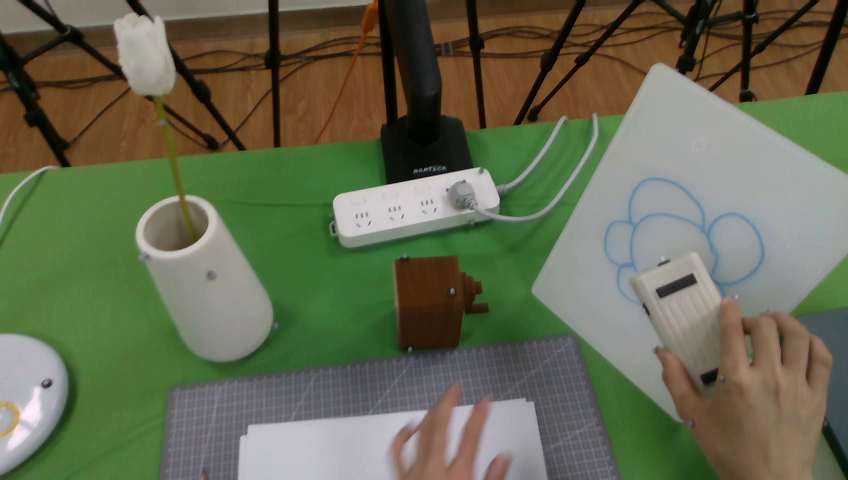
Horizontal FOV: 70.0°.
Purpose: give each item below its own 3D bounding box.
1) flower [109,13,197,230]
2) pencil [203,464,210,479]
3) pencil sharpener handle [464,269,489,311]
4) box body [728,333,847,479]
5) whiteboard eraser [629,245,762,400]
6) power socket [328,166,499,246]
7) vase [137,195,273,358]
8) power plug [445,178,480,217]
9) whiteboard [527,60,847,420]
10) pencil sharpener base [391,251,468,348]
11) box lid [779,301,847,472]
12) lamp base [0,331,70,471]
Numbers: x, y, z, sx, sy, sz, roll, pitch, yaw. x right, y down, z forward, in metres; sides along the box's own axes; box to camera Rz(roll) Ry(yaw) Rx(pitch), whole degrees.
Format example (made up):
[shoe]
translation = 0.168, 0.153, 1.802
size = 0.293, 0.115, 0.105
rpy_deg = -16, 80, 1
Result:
[flower]
translation = -0.214, -0.020, 0.555
size = 0.038, 0.365, 0.043
rpy_deg = -16, 39, -20
[pencil]
translation = -0.211, 0.300, 0.547
size = 0.012, 0.012, 0.192
rpy_deg = -1, 54, -1
[pencil sharpener handle]
translation = 0.057, 0.055, 0.649
size = 0.031, 0.068, 0.035
rpy_deg = -5, 54, -4
[box body]
translation = 0.460, 0.241, 0.508
size = 0.254, 0.162, 0.360
rpy_deg = -7, 56, -6
[whiteboard eraser]
translation = 0.213, 0.064, 0.479
size = 0.055, 0.042, 0.112
rpy_deg = -26, 82, 6
[power socket]
translation = -0.011, -0.044, 0.776
size = 0.227, 0.033, 0.071
rpy_deg = -11, 57, -9
[vase]
translation = -0.219, 0.042, 0.612
size = 0.098, 0.202, 0.097
rpy_deg = 0, 55, 1
[power plug]
translation = 0.046, -0.045, 0.749
size = 0.035, 0.053, 0.072
rpy_deg = -3, 57, -2
[whiteboard]
translation = 0.281, -0.005, 0.626
size = 0.144, 0.307, 0.215
rpy_deg = -25, 57, -39
[pencil sharpener base]
translation = 0.006, 0.066, 0.655
size = 0.077, 0.108, 0.061
rpy_deg = -5, 55, -4
[box lid]
translation = 0.460, 0.196, 0.448
size = 0.264, 0.015, 0.367
rpy_deg = -7, 55, -6
[lamp base]
translation = -0.464, 0.119, 0.567
size = 0.178, 0.182, 0.160
rpy_deg = 20, 57, 16
